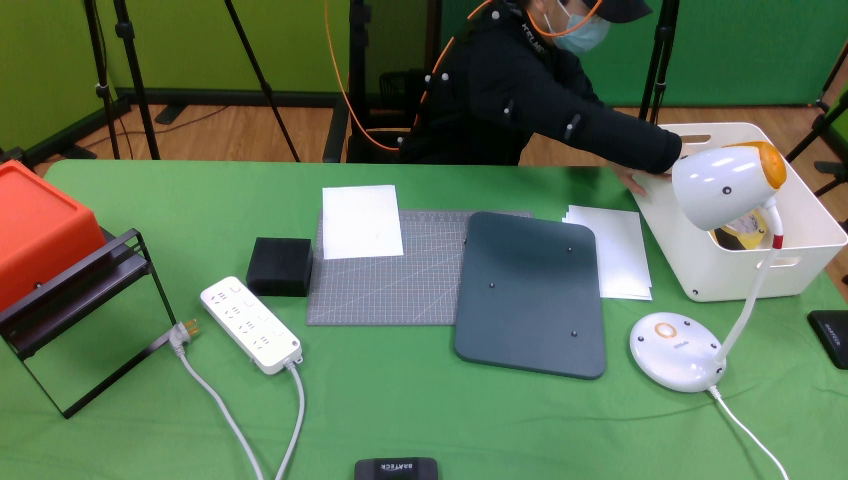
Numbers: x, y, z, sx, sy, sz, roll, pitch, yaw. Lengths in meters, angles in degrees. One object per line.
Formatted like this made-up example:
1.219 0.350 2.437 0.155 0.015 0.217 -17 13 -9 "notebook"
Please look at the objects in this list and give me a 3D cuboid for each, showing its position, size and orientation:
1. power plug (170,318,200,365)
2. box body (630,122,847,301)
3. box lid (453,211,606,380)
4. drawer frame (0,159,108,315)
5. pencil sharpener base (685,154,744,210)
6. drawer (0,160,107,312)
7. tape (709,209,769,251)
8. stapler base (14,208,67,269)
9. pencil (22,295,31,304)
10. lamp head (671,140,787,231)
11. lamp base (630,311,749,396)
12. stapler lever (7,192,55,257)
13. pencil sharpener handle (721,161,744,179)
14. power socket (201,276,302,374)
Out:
-0.392 0.167 1.014 0.052 0.035 0.072 -30 90 -24 "power plug"
0.594 -0.062 1.202 0.254 0.161 0.361 -4 47 -7 "box body"
0.200 0.085 1.138 0.263 0.015 0.369 8 47 3 "box lid"
-0.611 0.000 0.863 0.201 0.083 0.213 27 51 20 "drawer frame"
0.619 -0.124 1.294 0.077 0.107 0.061 -8 47 -13 "pencil sharpener base"
-0.610 -0.001 0.866 0.194 0.073 0.211 29 52 21 "drawer"
0.633 -0.024 1.238 0.117 0.053 0.116 1 46 -1 "tape"
-0.577 -0.010 0.903 0.041 0.024 0.130 -30 57 -25 "stapler base"
-0.590 0.010 0.883 0.012 0.012 0.193 -17 61 -20 "pencil"
0.415 -0.078 0.811 0.113 0.123 0.112 12 70 -37 "lamp head"
0.447 0.143 0.983 0.161 0.181 0.178 -24 55 -24 "lamp base"
-0.575 -0.026 0.885 0.027 0.040 0.117 -31 56 -25 "stapler lever"
0.668 -0.147 1.300 0.031 0.068 0.036 -8 78 -12 "pencil sharpener handle"
-0.297 0.141 1.034 0.072 0.033 0.225 -34 58 -30 "power socket"
